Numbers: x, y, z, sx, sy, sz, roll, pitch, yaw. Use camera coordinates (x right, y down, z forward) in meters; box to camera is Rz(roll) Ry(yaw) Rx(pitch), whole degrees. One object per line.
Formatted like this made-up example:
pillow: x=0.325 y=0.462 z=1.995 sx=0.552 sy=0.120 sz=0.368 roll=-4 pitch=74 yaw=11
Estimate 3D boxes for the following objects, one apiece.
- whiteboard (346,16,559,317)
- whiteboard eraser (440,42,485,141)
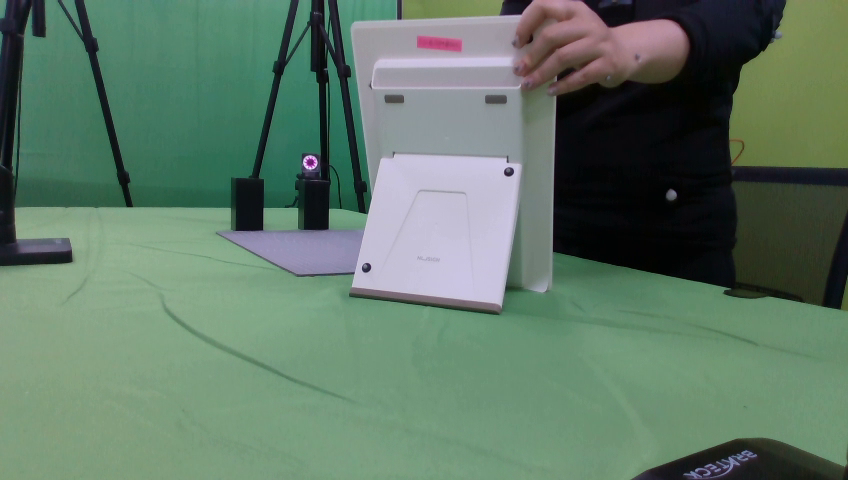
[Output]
whiteboard: x=0.012 y=-0.056 z=0.609 sx=0.216 sy=0.305 sz=0.144 roll=5 pitch=26 yaw=19
whiteboard eraser: x=0.040 y=-0.155 z=0.633 sx=0.041 sy=0.101 sz=0.019 roll=8 pitch=20 yaw=10
